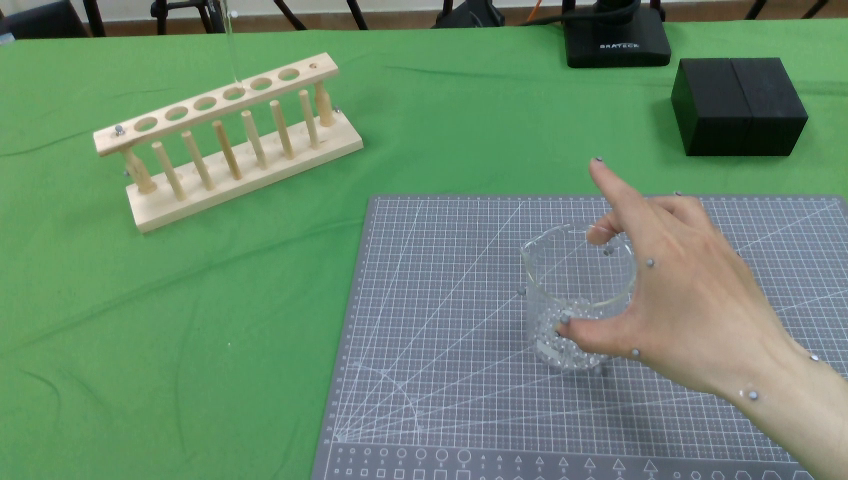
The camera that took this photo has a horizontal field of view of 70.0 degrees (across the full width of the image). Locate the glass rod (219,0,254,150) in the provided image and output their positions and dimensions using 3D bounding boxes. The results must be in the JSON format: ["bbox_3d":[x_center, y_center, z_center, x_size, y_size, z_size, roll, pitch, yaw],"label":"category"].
[{"bbox_3d":[-0.183,-0.172,0.591,0.008,0.201,0.008,0,42,0],"label":"glass rod"}]

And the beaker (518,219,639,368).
[{"bbox_3d":[0.109,0.043,0.453,0.083,0.101,0.073,19,55,22],"label":"beaker"}]

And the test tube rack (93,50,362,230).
[{"bbox_3d":[-0.193,-0.105,0.622,0.242,0.086,0.066,-24,52,-14],"label":"test tube rack"}]
